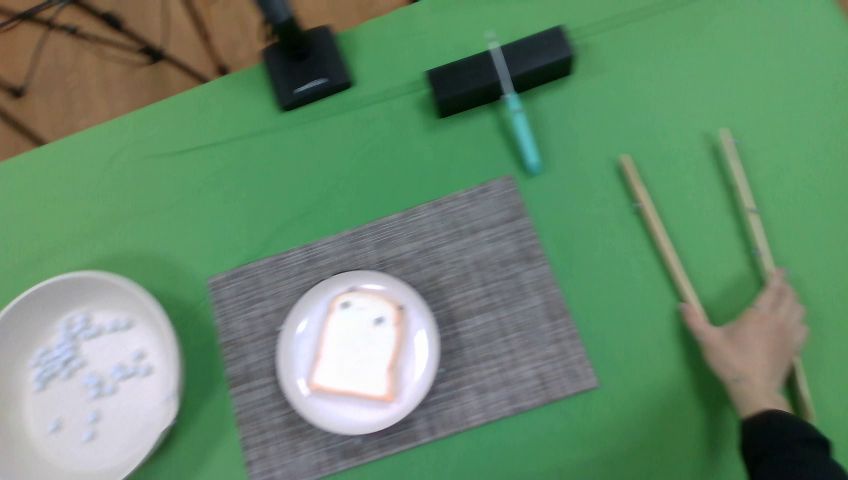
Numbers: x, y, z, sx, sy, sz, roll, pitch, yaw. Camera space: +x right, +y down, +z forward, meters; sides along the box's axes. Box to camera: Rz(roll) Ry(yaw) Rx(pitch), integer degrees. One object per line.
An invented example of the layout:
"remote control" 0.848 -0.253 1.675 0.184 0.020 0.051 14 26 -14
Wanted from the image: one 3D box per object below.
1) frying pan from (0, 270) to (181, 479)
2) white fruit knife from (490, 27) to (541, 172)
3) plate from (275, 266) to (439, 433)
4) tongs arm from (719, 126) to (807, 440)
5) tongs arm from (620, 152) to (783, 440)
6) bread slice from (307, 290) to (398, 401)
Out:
"frying pan" -0.475 0.277 0.743 0.306 0.103 0.485 12 66 12
"white fruit knife" 0.121 -0.193 0.822 0.016 0.027 0.207 -18 86 2
"plate" -0.082 0.137 0.766 0.207 0.039 0.206 -2 73 7
"tongs arm" 0.396 0.041 0.737 0.051 0.027 0.382 -11 73 5
"tongs arm" 0.327 0.058 0.744 0.028 0.028 0.384 -20 72 -1
"bread slice" -0.087 0.131 0.770 0.107 0.018 0.133 4 75 8
